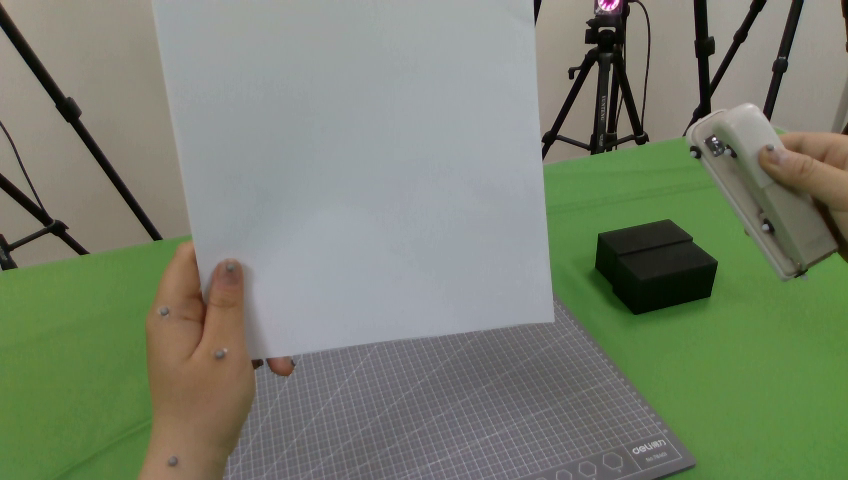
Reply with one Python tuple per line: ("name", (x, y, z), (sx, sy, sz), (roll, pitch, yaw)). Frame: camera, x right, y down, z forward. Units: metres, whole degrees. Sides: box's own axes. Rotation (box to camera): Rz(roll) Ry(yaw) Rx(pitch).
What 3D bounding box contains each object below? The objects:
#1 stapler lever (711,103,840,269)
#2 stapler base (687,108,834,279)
("stapler lever", (0.234, -0.038, 0.403), (0.027, 0.117, 0.040), (-32, -10, 9))
("stapler base", (0.238, -0.037, 0.427), (0.041, 0.130, 0.024), (-32, -9, 9))
